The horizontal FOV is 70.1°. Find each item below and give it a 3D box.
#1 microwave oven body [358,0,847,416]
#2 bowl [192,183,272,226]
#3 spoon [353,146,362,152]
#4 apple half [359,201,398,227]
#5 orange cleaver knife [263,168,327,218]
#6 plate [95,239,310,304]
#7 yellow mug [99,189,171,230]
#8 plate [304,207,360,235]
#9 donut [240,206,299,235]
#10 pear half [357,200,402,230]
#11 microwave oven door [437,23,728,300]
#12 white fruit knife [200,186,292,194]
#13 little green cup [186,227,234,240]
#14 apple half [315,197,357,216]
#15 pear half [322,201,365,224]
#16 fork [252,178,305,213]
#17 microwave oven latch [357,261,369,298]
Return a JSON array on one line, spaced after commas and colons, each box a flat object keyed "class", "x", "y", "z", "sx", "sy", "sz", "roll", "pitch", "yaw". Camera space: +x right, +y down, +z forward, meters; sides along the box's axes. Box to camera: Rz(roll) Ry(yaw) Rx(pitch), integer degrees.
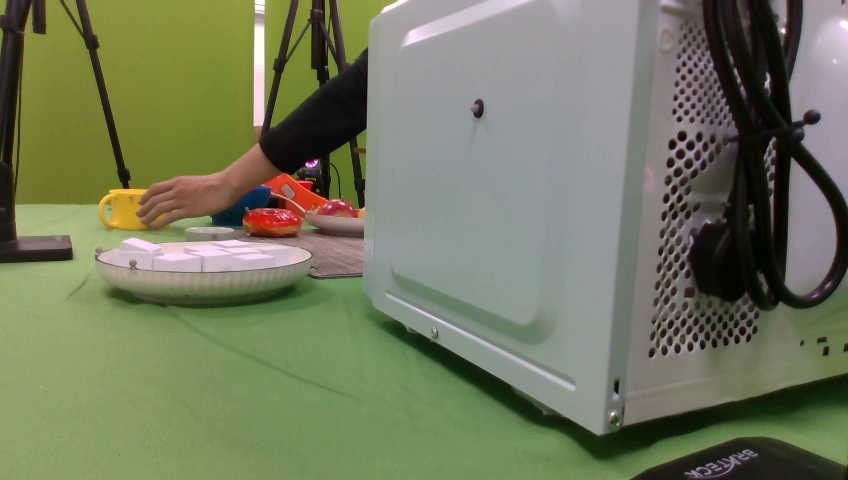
[{"class": "microwave oven body", "x": 0.211, "y": -0.047, "z": 0.474, "sx": 0.444, "sy": 0.260, "sz": 0.324, "roll": -1, "pitch": 7, "yaw": -28}, {"class": "bowl", "x": -0.381, "y": -0.071, "z": 1.202, "sx": 0.151, "sy": 0.077, "sz": 0.151, "roll": 3, "pitch": 7, "yaw": 0}, {"class": "spoon", "x": -0.096, "y": -0.234, "z": 1.416, "sx": 0.041, "sy": 0.021, "sz": 0.194, "roll": -1, "pitch": 21, "yaw": 38}, {"class": "apple half", "x": -0.088, "y": -0.058, "z": 1.190, "sx": 0.081, "sy": 0.033, "sz": 0.081, "roll": 10, "pitch": 29, "yaw": -5}, {"class": "orange cleaver knife", "x": -0.262, "y": -0.088, "z": 1.353, "sx": 0.211, "sy": 0.077, "sz": 0.012, "roll": 28, "pitch": 13, "yaw": -1}, {"class": "plate", "x": -0.224, "y": 0.031, "z": 0.629, "sx": 0.208, "sy": 0.039, "sz": 0.207, "roll": 2, "pitch": 8, "yaw": 0}, {"class": "yellow mug", "x": -0.519, "y": -0.055, "z": 1.080, "sx": 0.099, "sy": 0.064, "sz": 0.131, "roll": 7, "pitch": 10, "yaw": 26}, {"class": "plate", "x": -0.123, "y": -0.037, "z": 1.149, "sx": 0.209, "sy": 0.038, "sz": 0.209, "roll": 2, "pitch": 7, "yaw": 0}, {"class": "donut", "x": -0.264, "y": -0.032, "z": 1.038, "sx": 0.099, "sy": 0.048, "sz": 0.099, "roll": 3, "pitch": 9, "yaw": 0}, {"class": "pear half", "x": -0.075, "y": -0.046, "z": 1.133, "sx": 0.076, "sy": 0.056, "sz": 0.110, "roll": 13, "pitch": 8, "yaw": 31}, {"class": "microwave oven door", "x": 0.181, "y": -0.073, "z": 0.621, "sx": 0.358, "sy": 0.243, "sz": 0.039, "roll": -2, "pitch": 8, "yaw": -29}, {"class": "white fruit knife", "x": -0.399, "y": -0.111, "z": 1.368, "sx": 0.208, "sy": 0.016, "sz": 0.027, "roll": -4, "pitch": -19, "yaw": -30}, {"class": "little green cup", "x": -0.285, "y": 0.005, "z": 0.805, "sx": 0.061, "sy": 0.038, "sz": 0.061, "roll": 2, "pitch": 8, "yaw": 0}, {"class": "apple half", "x": -0.162, "y": -0.052, "z": 1.121, "sx": 0.081, "sy": 0.053, "sz": 0.074, "roll": 4, "pitch": 7, "yaw": -14}, {"class": "pear half", "x": -0.157, "y": -0.059, "z": 1.197, "sx": 0.088, "sy": 0.031, "sz": 0.070, "roll": 12, "pitch": 30, "yaw": -4}, {"class": "fork", "x": -0.295, "y": -0.083, "z": 1.292, "sx": 0.206, "sy": 0.018, "sz": 0.028, "roll": 29, "pitch": 10, "yaw": 25}, {"class": "microwave oven latch", "x": -0.019, "y": 0.033, "z": 0.530, "sx": 0.079, "sy": 0.029, "sz": 0.030, "roll": -1, "pitch": 7, "yaw": -26}]
